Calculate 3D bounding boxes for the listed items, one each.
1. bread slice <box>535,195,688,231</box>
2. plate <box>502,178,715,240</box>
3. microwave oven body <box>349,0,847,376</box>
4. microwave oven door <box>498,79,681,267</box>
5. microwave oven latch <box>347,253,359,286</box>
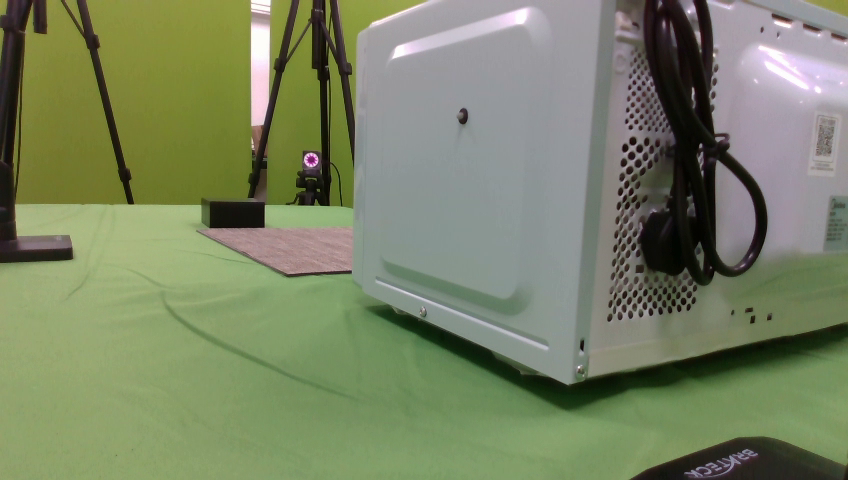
[{"bbox_3d":[0.182,-0.028,0.610,0.132,0.019,0.104,6,6,-25],"label":"bread slice"},{"bbox_3d":[0.180,-0.031,0.613,0.209,0.038,0.209,8,6,-1],"label":"plate"},{"bbox_3d":[0.199,-0.053,0.540,0.444,0.260,0.324,-1,7,-32],"label":"microwave oven body"},{"bbox_3d":[0.230,-0.106,0.924,0.039,0.243,0.354,-1,8,-26],"label":"microwave oven door"},{"bbox_3d":[-0.034,0.028,0.581,0.079,0.029,0.030,-1,7,-31],"label":"microwave oven latch"}]
